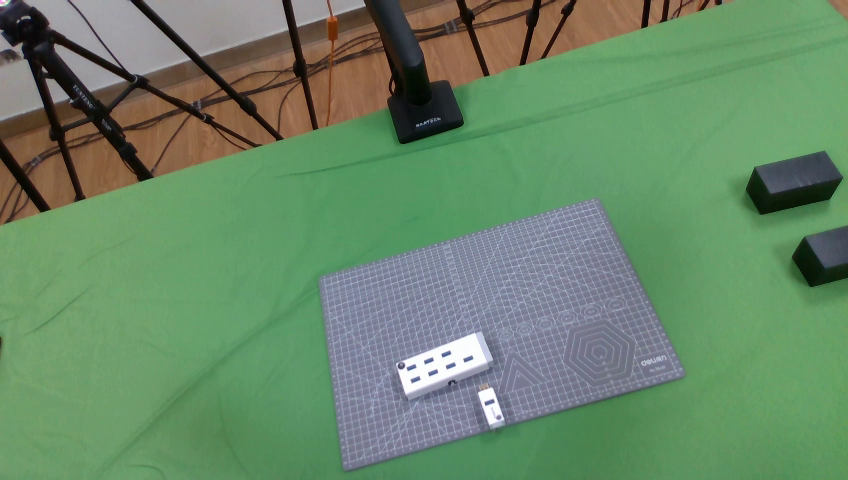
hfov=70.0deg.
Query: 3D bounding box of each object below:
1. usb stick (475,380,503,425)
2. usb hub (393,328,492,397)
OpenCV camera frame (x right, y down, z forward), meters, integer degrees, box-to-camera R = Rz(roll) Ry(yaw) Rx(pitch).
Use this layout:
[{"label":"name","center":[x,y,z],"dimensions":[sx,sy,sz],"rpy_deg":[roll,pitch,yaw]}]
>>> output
[{"label":"usb stick","center":[0.081,0.204,0.775],"dimensions":[0.021,0.027,0.058],"rpy_deg":[-21,53,2]},{"label":"usb hub","center":[0.024,0.163,0.813],"dimensions":[0.125,0.025,0.049],"rpy_deg":[-21,56,-2]}]
